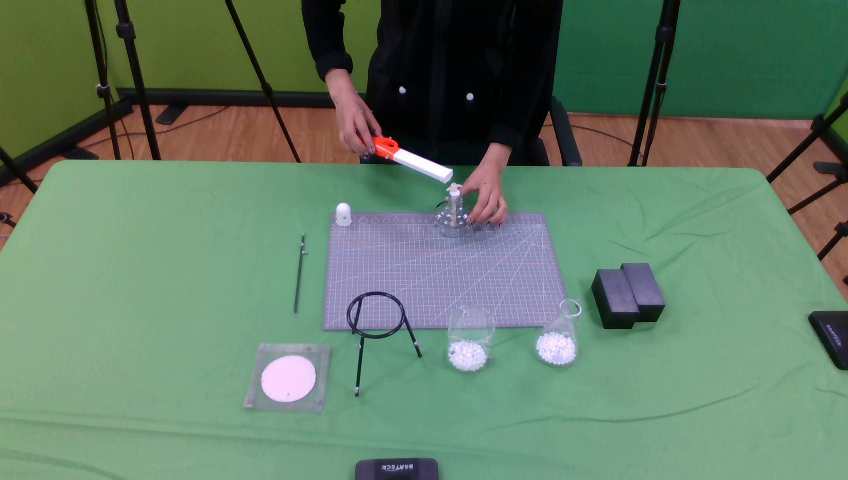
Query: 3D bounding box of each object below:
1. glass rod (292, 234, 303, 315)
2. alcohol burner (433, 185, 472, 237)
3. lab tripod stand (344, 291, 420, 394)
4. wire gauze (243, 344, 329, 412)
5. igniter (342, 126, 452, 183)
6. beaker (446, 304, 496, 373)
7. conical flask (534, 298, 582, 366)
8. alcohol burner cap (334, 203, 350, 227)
[{"bbox_3d":[-0.236,0.059,1.133,0.008,0.008,0.198,-1,46,-5],"label":"glass rod"},{"bbox_3d":[0.057,-0.062,1.198,0.078,0.120,0.077,1,48,-1],"label":"alcohol burner"},{"bbox_3d":[-0.075,0.155,0.967,0.148,0.132,0.147,3,44,-3],"label":"lab tripod stand"},{"bbox_3d":[-0.221,0.219,0.981,0.125,0.011,0.120,2,45,0],"label":"wire gauze"},{"bbox_3d":[-0.063,-0.177,1.228,0.275,0.025,0.057,27,53,27],"label":"igniter"},{"bbox_3d":[0.072,0.166,0.992,0.084,0.101,0.073,-21,51,-22],"label":"beaker"},{"bbox_3d":[0.229,0.149,1.005,0.075,0.122,0.075,2,46,-2],"label":"conical flask"},{"bbox_3d":[-0.166,-0.053,1.220,0.034,0.048,0.033,2,46,-2],"label":"alcohol burner cap"}]
